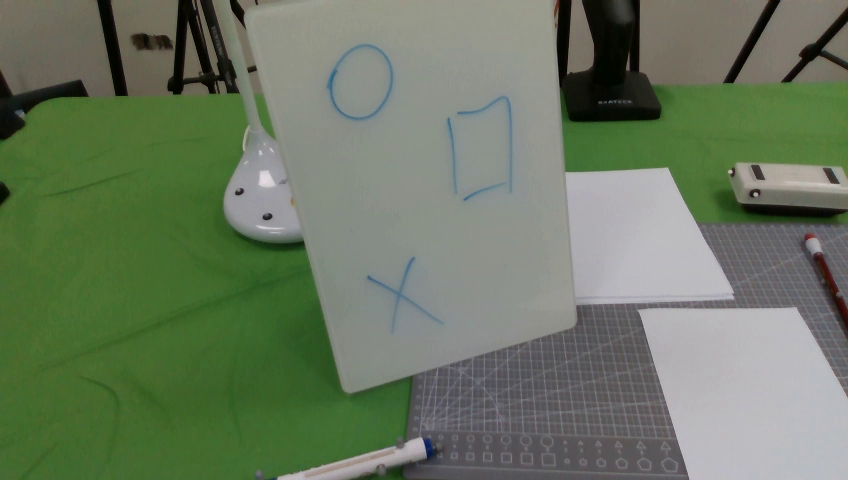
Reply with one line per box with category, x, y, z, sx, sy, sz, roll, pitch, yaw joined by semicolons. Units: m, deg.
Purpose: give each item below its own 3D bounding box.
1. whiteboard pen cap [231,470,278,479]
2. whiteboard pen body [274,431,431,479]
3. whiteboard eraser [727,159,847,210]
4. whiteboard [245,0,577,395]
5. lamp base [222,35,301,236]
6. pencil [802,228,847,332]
whiteboard pen cap;-0.120;0.175;0.433;0.033;0.018;0.018;-11;41;-13
whiteboard pen body;-0.063;0.164;0.445;0.141;0.017;0.017;-12;42;-11
whiteboard eraser;0.392;-0.059;0.653;0.112;0.042;0.055;4;42;10
whiteboard;-0.005;-0.059;0.526;0.217;0.307;0.142;-14;23;-10
lamp base;-0.166;-0.121;0.661;0.160;0.182;0.177;-34;47;-30
pencil;0.373;0.056;0.543;0.012;0.012;0.192;3;44;9
